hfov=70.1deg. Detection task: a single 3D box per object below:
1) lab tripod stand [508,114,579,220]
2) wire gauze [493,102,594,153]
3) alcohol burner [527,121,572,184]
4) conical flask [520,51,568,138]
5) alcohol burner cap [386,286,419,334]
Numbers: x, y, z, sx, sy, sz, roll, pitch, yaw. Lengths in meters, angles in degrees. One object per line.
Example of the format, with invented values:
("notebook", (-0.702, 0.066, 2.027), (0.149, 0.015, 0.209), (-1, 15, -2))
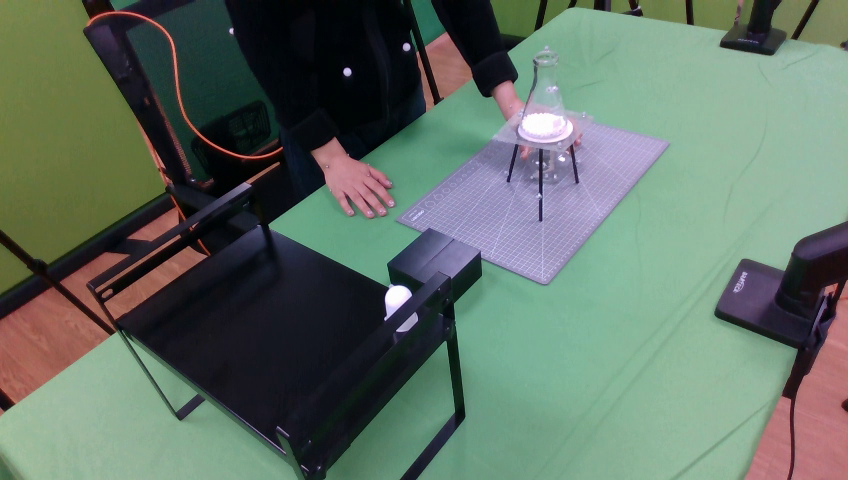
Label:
("lab tripod stand", (0.199, -0.127, 1.005), (0.148, 0.132, 0.147), (-3, 42, 3))
("wire gauze", (0.191, -0.179, 0.965), (0.120, 0.011, 0.125), (18, 49, 29))
("alcohol burner", (0.218, -0.157, 1.051), (0.078, 0.120, 0.077), (-5, 47, 5))
("conical flask", (0.185, -0.223, 0.926), (0.075, 0.122, 0.075), (-4, 41, 4))
("alcohol burner cap", (-0.024, 0.067, 0.604), (0.034, 0.048, 0.033), (-4, 39, 4))
